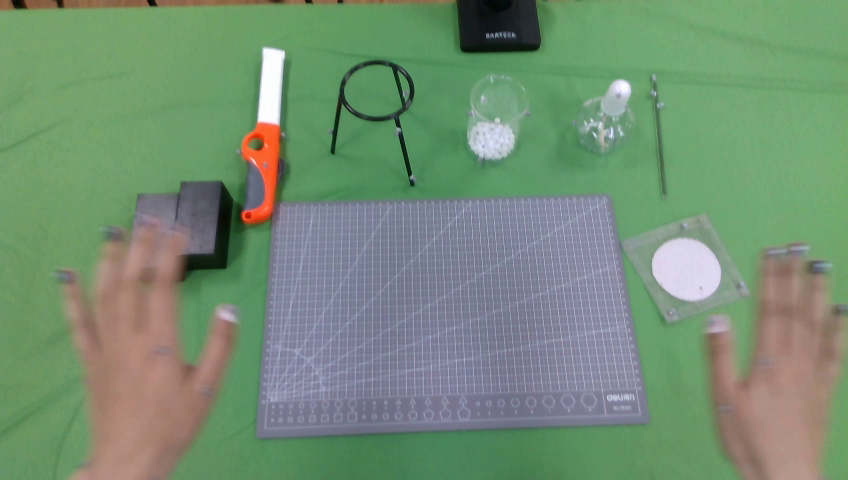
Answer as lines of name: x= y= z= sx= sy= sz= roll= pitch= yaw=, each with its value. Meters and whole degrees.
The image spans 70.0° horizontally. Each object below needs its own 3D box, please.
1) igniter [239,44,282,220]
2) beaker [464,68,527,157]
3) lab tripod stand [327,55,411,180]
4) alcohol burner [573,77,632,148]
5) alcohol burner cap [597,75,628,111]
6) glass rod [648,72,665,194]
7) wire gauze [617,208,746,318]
igniter: x=-0.220 y=-0.152 z=0.828 sx=0.057 sy=0.025 sz=0.274 roll=5 pitch=67 yaw=-15
beaker: x=0.090 y=-0.165 z=0.802 sx=0.074 sy=0.101 sz=0.083 roll=-10 pitch=67 yaw=-6
lab tripod stand: x=-0.060 y=-0.163 z=0.779 sx=0.148 sy=0.132 sz=0.147 roll=0 pitch=66 yaw=0
alcohol burner: x=0.241 y=-0.175 z=0.801 sx=0.078 sy=0.120 sz=0.077 roll=0 pitch=65 yaw=-1
alcohol burner cap: x=0.242 y=-0.189 z=0.768 sx=0.034 sy=0.048 sz=0.033 roll=0 pitch=72 yaw=1
glass rod: x=0.326 y=-0.154 z=0.851 sx=0.008 sy=0.008 sz=0.198 roll=4 pitch=68 yaw=0
wire gauze: x=0.330 y=0.028 z=0.776 sx=0.125 sy=0.011 sz=0.120 roll=-19 pitch=69 yaw=-6
